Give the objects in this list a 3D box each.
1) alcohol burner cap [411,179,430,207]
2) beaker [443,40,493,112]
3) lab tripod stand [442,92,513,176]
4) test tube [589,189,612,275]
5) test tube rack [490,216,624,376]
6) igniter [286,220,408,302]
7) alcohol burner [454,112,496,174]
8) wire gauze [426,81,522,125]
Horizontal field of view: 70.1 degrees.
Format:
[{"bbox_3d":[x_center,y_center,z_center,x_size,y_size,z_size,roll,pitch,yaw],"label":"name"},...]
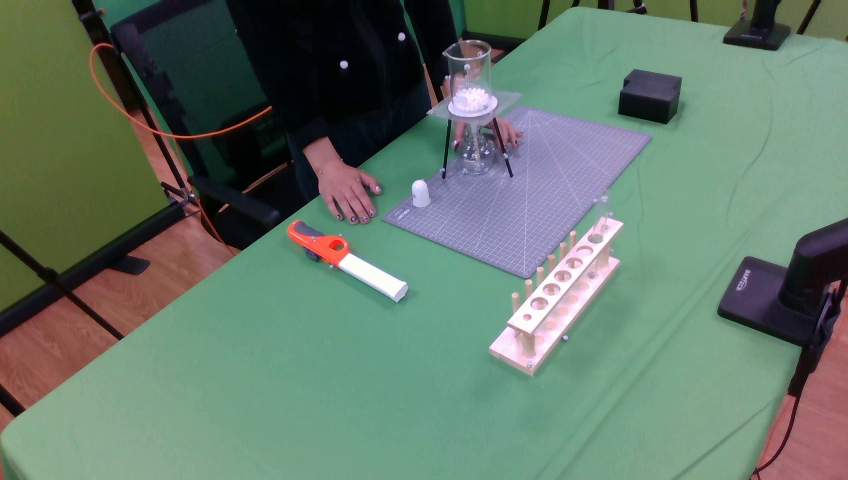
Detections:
[{"bbox_3d":[-0.008,-0.085,1.063,0.034,0.048,0.033,-4,41,4],"label":"alcohol burner cap"},{"bbox_3d":[0.076,-0.275,1.023,0.083,0.101,0.074,5,42,16],"label":"beaker"},{"bbox_3d":[0.096,-0.190,1.096,0.148,0.132,0.147,-4,40,4],"label":"lab tripod stand"},{"bbox_3d":[0.238,-0.007,0.818,0.017,0.151,0.017,-3,43,4],"label":"test tube"},{"bbox_3d":[0.184,0.064,0.822,0.066,0.085,0.243,24,50,33],"label":"test tube rack"},{"bbox_3d":[-0.134,0.028,0.969,0.274,0.025,0.057,26,61,35],"label":"igniter"},{"bbox_3d":[0.092,-0.181,1.102,0.078,0.119,0.077,-5,42,5],"label":"alcohol burner"},{"bbox_3d":[0.088,-0.237,1.051,0.120,0.011,0.125,23,47,29],"label":"wire gauze"}]
